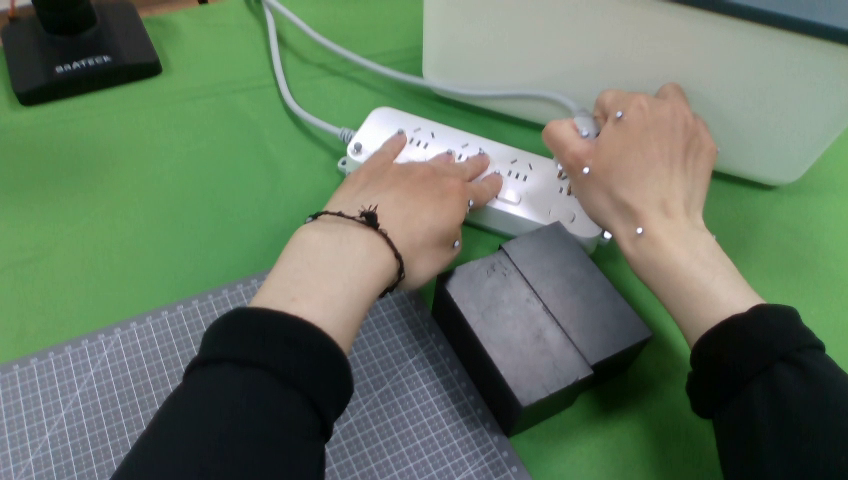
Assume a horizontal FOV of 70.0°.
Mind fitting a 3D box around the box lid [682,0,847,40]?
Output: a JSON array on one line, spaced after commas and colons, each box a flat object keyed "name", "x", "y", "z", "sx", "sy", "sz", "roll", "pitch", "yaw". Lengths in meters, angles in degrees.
[{"name": "box lid", "x": 0.204, "y": -0.267, "z": 0.488, "sx": 0.371, "sy": 0.015, "sz": 0.261, "roll": 17, "pitch": 54, "yaw": 7}]

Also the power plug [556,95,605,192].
[{"name": "power plug", "x": 0.124, "y": -0.072, "z": 0.465, "sx": 0.035, "sy": 0.053, "sz": 0.072, "roll": 23, "pitch": 41, "yaw": 12}]

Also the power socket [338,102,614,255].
[{"name": "power socket", "x": 0.043, "y": -0.052, "z": 0.484, "sx": 0.226, "sy": 0.033, "sz": 0.072, "roll": 20, "pitch": 53, "yaw": 10}]

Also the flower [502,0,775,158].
[{"name": "flower", "x": 0.193, "y": -0.190, "z": 0.610, "sx": 0.359, "sy": 0.038, "sz": 0.044, "roll": 41, "pitch": 83, "yaw": 15}]

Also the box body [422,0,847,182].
[{"name": "box body", "x": 0.197, "y": -0.223, "z": 0.547, "sx": 0.363, "sy": 0.161, "sz": 0.252, "roll": 17, "pitch": 53, "yaw": 7}]
